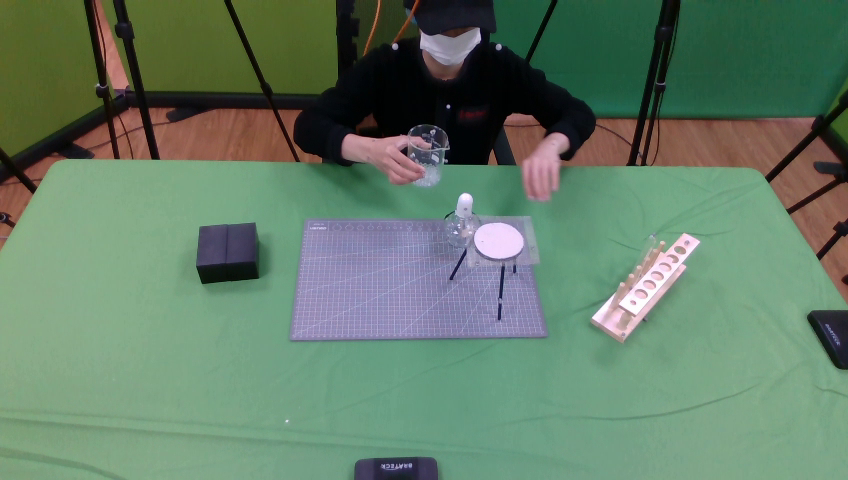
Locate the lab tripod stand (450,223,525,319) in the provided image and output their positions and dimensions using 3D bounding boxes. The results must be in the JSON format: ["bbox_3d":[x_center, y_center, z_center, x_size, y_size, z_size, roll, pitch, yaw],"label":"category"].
[{"bbox_3d":[0.120,0.046,1.080,0.148,0.132,0.147,1,47,-1],"label":"lab tripod stand"}]

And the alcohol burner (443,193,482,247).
[{"bbox_3d":[0.075,-0.044,1.177,0.078,0.120,0.077,1,44,-1],"label":"alcohol burner"}]

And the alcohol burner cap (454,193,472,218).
[{"bbox_3d":[0.076,-0.068,1.151,0.034,0.048,0.033,4,46,-4],"label":"alcohol burner cap"}]

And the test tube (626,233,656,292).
[{"bbox_3d":[0.384,0.042,1.078,0.017,0.151,0.017,1,47,-1],"label":"test tube"}]

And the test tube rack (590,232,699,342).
[{"bbox_3d":[0.407,0.074,1.112,0.066,0.085,0.242,35,53,26],"label":"test tube rack"}]

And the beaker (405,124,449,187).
[{"bbox_3d":[0.004,-0.155,1.135,0.084,0.101,0.074,22,51,14],"label":"beaker"}]

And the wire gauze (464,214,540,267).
[{"bbox_3d":[0.131,-0.002,1.034,0.121,0.011,0.124,1,45,-2],"label":"wire gauze"}]
